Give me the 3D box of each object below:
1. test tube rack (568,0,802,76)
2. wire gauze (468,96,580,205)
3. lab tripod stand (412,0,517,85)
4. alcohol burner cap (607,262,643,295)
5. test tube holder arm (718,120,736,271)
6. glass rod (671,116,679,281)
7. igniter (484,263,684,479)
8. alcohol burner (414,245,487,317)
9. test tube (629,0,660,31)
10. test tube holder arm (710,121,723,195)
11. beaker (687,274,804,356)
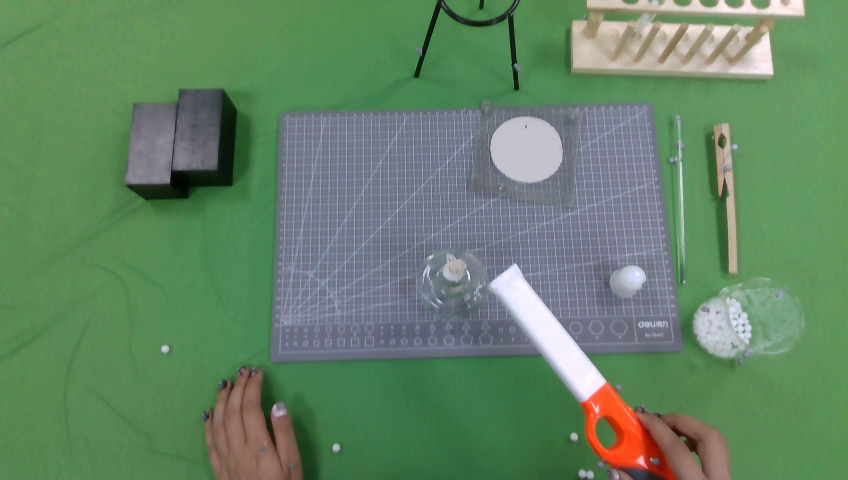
[{"bbox_3d":[0.299,-0.248,0.713,0.242,0.085,0.066,2,76,1],"label":"test tube rack"},{"bbox_3d":[0.119,-0.109,0.716,0.125,0.011,0.121,10,77,2],"label":"wire gauze"},{"bbox_3d":[0.053,-0.248,0.689,0.148,0.132,0.147,0,78,1],"label":"lab tripod stand"},{"bbox_3d":[0.222,0.039,0.661,0.034,0.048,0.033,0,76,1],"label":"alcohol burner cap"},{"bbox_3d":[0.348,-0.053,0.697,0.013,0.015,0.177,-8,74,33],"label":"test tube holder arm"},{"bbox_3d":[0.292,-0.050,0.703,0.008,0.008,0.199,4,78,1],"label":"glass rod"},{"bbox_3d":[0.147,0.138,0.521,0.057,0.025,0.276,-36,85,-16],"label":"igniter"},{"bbox_3d":[0.027,0.038,0.625,0.078,0.120,0.077,0,74,2],"label":"alcohol burner"},{"bbox_3d":[0.261,-0.276,0.669,0.017,0.150,0.017,1,77,-5],"label":"test tube"},{"bbox_3d":[0.344,-0.096,0.710,0.010,0.015,0.087,-7,74,33],"label":"test tube holder arm"},{"bbox_3d":[0.321,0.080,0.624,0.084,0.101,0.074,30,77,9],"label":"beaker"}]
